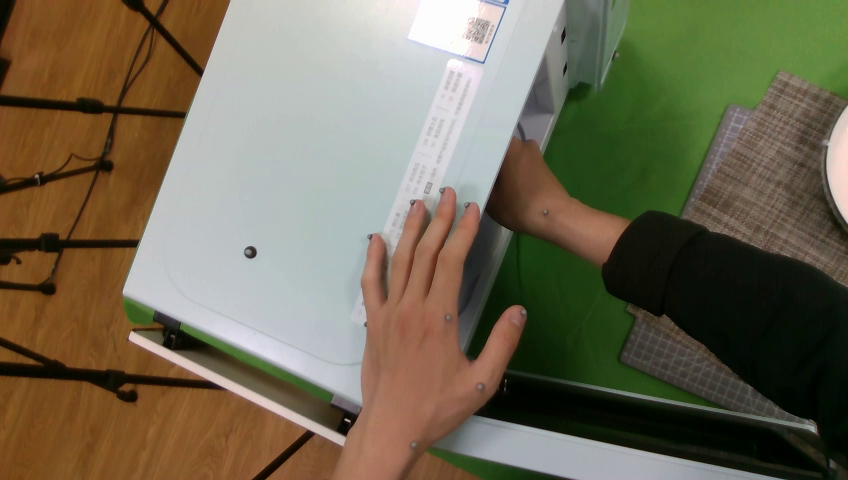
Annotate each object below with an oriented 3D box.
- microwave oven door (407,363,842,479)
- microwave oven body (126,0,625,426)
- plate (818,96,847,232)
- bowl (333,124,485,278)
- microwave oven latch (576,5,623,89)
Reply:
[{"bbox_3d":[0.185,0.168,0.524,0.354,0.245,0.039,7,87,15],"label":"microwave oven door"},{"bbox_3d":[-0.032,-0.100,0.601,0.324,0.261,0.441,21,92,14],"label":"microwave oven body"},{"bbox_3d":[0.493,-0.071,0.582,0.208,0.038,0.208,-1,85,14],"label":"plate"},{"bbox_3d":[-0.007,-0.035,0.615,0.151,0.077,0.151,-1,86,14],"label":"bowl"},{"bbox_3d":[0.189,-0.207,0.653,0.030,0.029,0.079,22,92,14],"label":"microwave oven latch"}]
